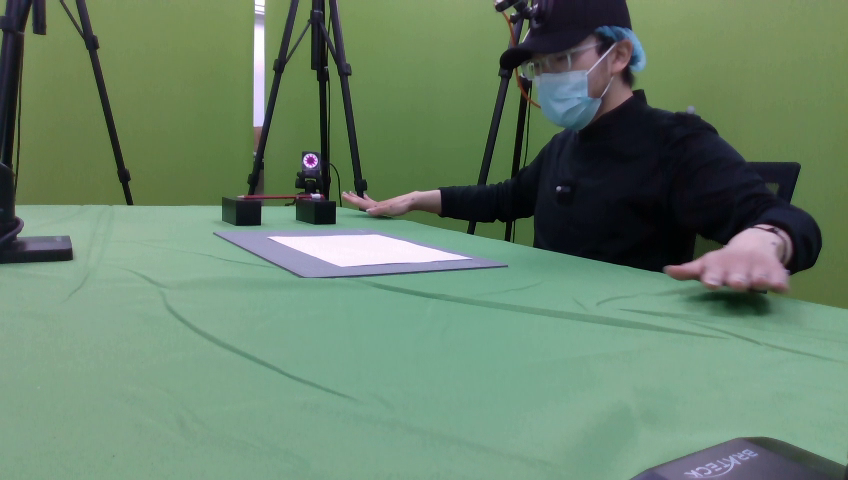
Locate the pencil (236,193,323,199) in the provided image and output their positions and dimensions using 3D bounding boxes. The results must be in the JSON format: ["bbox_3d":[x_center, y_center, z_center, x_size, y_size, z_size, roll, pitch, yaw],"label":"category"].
[{"bbox_3d":[-0.302,-0.092,1.279,0.195,0.012,0.012,-4,10,-36],"label":"pencil"}]
